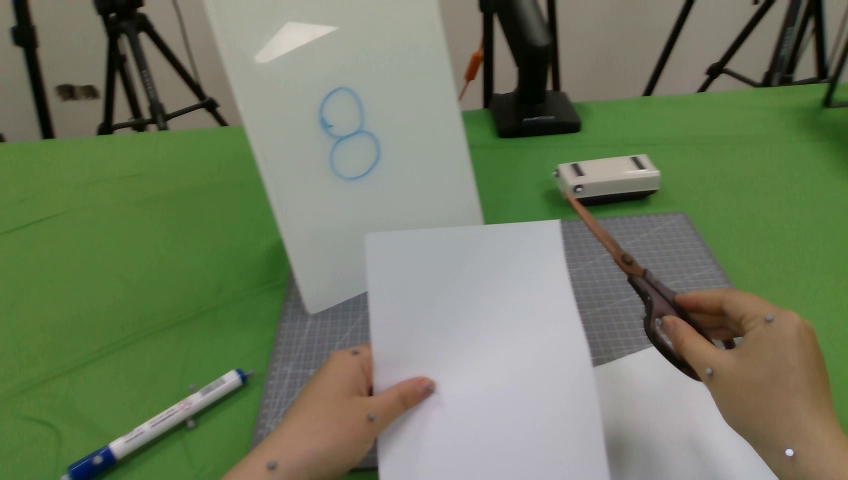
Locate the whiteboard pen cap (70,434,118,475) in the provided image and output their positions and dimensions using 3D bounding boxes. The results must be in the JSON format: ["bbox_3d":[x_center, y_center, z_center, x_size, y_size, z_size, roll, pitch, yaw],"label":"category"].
[{"bbox_3d":[-0.252,0.164,0.467,0.033,0.018,0.018,-32,46,-33],"label":"whiteboard pen cap"}]

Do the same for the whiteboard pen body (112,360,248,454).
[{"bbox_3d":[-0.209,0.141,0.498,0.141,0.017,0.017,-31,45,-32],"label":"whiteboard pen body"}]

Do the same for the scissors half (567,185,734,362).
[{"bbox_3d":[0.166,0.019,0.458,0.040,0.013,0.173,-18,60,-41],"label":"scissors half"}]

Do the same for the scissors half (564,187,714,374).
[{"bbox_3d":[0.150,0.022,0.447,0.040,0.013,0.173,-7,53,-28],"label":"scissors half"}]

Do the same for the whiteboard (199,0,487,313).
[{"bbox_3d":[-0.088,-0.119,0.641,0.217,0.307,0.142,-23,22,-22],"label":"whiteboard"}]

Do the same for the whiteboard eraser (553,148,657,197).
[{"bbox_3d":[0.217,-0.080,0.730,0.113,0.042,0.055,-6,40,-4],"label":"whiteboard eraser"}]
